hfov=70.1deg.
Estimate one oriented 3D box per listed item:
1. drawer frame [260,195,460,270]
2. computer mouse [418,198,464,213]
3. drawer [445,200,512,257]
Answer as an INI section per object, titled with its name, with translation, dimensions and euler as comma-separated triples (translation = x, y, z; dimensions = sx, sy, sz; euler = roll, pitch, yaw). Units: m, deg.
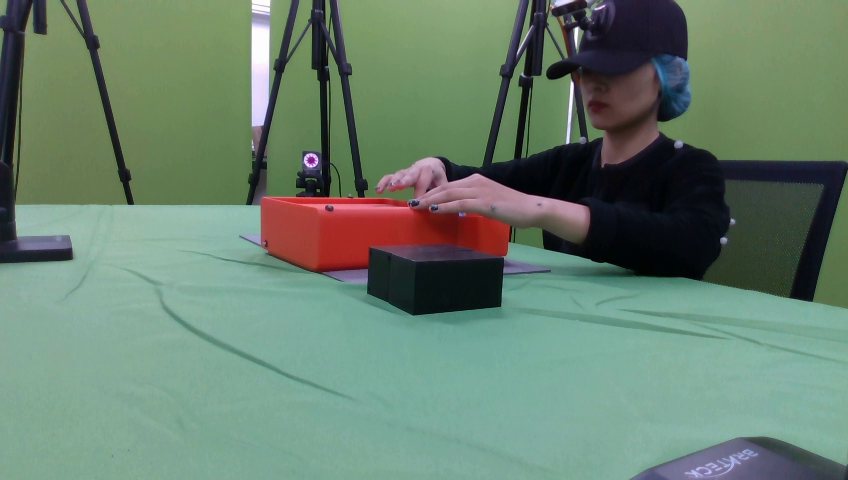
[drawer frame]
translation = -0.092, -0.018, 0.846
dimensions = 0.215, 0.082, 0.200
euler = -4, 10, -35
[computer mouse]
translation = 0.023, -0.040, 0.926
dimensions = 0.063, 0.041, 0.116
euler = 3, 13, -30
[drawer]
translation = -0.011, -0.020, 0.900
dimensions = 0.213, 0.073, 0.193
euler = -3, 9, -34
